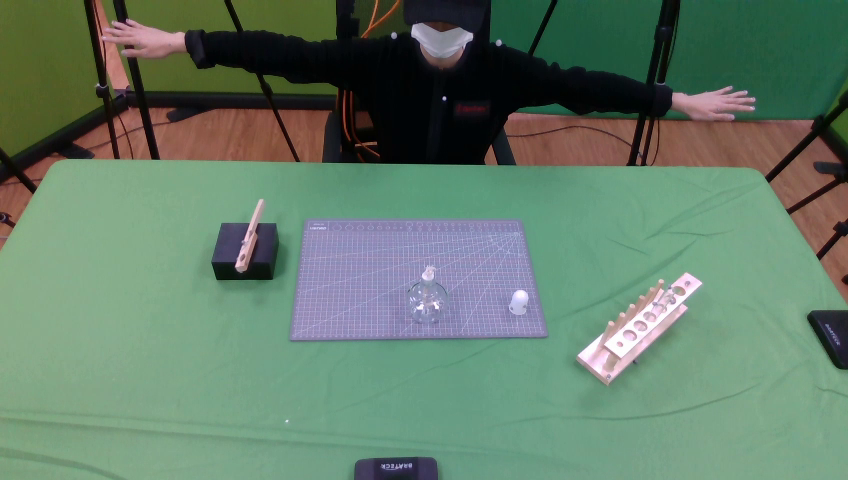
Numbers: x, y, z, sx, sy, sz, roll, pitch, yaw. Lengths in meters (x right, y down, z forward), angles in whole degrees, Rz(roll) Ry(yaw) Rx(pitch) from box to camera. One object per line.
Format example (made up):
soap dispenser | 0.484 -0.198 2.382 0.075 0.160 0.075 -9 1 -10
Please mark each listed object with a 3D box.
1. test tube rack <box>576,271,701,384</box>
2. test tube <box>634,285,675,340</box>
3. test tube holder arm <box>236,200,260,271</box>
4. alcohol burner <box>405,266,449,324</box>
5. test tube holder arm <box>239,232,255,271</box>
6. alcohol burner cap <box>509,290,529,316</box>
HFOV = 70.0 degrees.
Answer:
test tube rack | 0.373 0.138 1.047 0.242 0.085 0.066 -31 56 -29
test tube | 0.375 0.122 0.993 0.017 0.151 0.017 3 50 -3
test tube holder arm | -0.324 -0.012 1.120 0.013 0.015 0.177 0 45 -3
alcohol burner | 0.005 0.089 1.043 0.078 0.120 0.077 1 45 -1
test tube holder arm | -0.317 0.020 1.089 0.010 0.015 0.087 2 45 -2
alcohol burner cap | 0.171 0.110 1.086 0.034 0.048 0.033 2 45 -2
